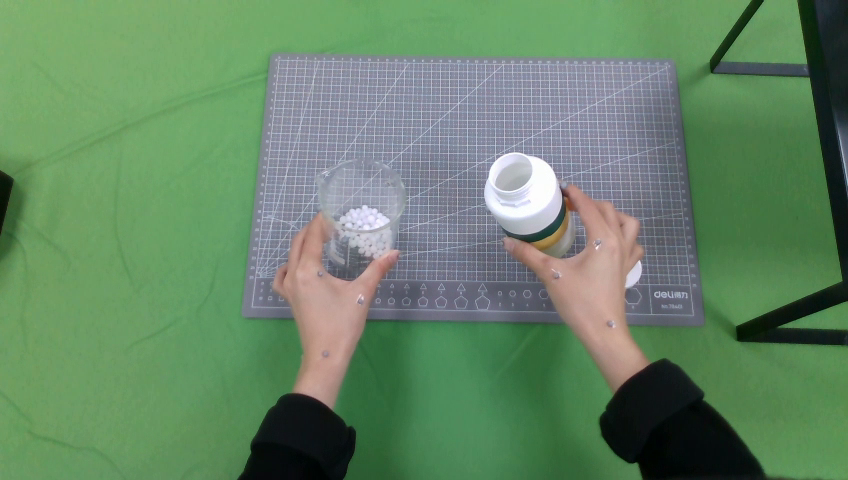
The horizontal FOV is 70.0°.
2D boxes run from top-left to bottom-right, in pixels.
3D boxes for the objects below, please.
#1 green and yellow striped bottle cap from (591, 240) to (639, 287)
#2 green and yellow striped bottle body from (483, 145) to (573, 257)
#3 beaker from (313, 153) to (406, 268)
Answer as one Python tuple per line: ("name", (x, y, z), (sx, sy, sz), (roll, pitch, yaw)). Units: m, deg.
("green and yellow striped bottle cap", (0.188, 0.023, 0.597), (0.045, 0.020, 0.045), (0, 70, 0))
("green and yellow striped bottle body", (0.091, -0.035, 0.535), (0.063, 0.121, 0.062), (-10, 62, 19))
("beaker", (-0.063, -0.023, 0.556), (0.084, 0.101, 0.073), (25, 64, 4))
